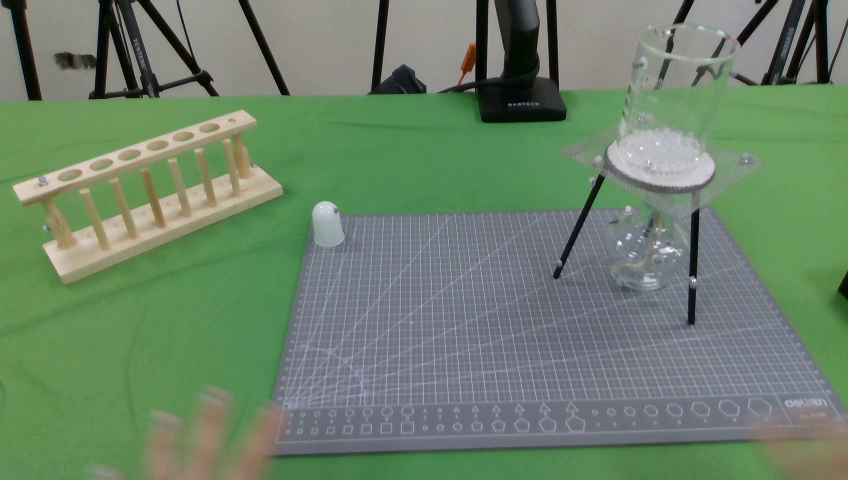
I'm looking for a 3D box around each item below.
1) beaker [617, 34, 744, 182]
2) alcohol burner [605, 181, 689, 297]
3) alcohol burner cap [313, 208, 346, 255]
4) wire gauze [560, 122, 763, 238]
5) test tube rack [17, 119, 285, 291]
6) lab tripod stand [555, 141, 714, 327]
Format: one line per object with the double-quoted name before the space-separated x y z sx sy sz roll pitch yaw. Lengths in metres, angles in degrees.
"beaker" 0.198 -0.106 0.487 0.074 0.101 0.083 -5 39 -7
"alcohol burner" 0.210 -0.005 0.561 0.078 0.120 0.077 0 40 0
"alcohol burner cap" -0.100 -0.012 0.633 0.034 0.048 0.033 0 38 0
"wire gauze" 0.197 -0.060 0.509 0.121 0.011 0.124 -26 48 -27
"test tube rack" -0.279 -0.046 0.649 0.242 0.086 0.066 -27 45 -30
"lab tripod stand" 0.203 -0.009 0.550 0.148 0.132 0.147 1 38 0
